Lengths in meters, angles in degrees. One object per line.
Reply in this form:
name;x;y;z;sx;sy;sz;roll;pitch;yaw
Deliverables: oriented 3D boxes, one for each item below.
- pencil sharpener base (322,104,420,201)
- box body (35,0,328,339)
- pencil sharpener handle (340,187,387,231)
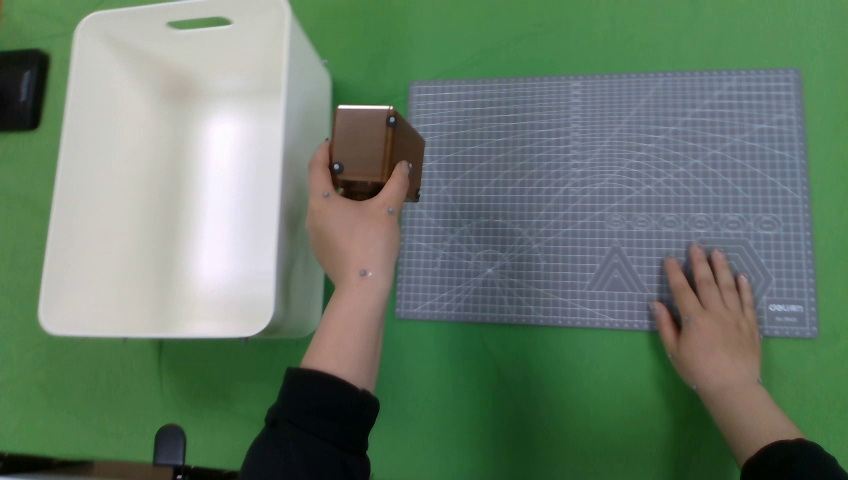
pencil sharpener base;-0.048;-0.077;0.580;0.061;0.107;0.076;4;85;15
box body;-0.254;-0.066;0.695;0.254;0.161;0.362;-2;78;10
pencil sharpener handle;-0.053;-0.028;0.564;0.036;0.068;0.030;3;84;24
